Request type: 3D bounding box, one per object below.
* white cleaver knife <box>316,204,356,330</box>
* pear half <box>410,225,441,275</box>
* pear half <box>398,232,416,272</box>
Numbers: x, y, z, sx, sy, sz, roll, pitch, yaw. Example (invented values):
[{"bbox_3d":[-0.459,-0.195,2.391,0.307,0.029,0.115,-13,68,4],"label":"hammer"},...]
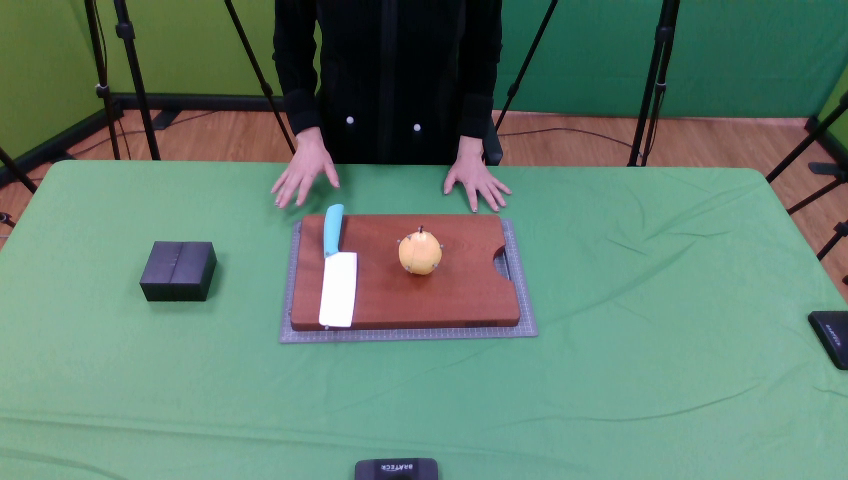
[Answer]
[{"bbox_3d":[-0.158,0.043,1.111,0.066,0.021,0.284,3,51,-8],"label":"white cleaver knife"},{"bbox_3d":[0.004,0.013,1.085,0.056,0.110,0.076,1,51,-3],"label":"pear half"},{"bbox_3d":[-0.031,0.017,1.092,0.031,0.088,0.070,1,51,-2],"label":"pear half"}]
